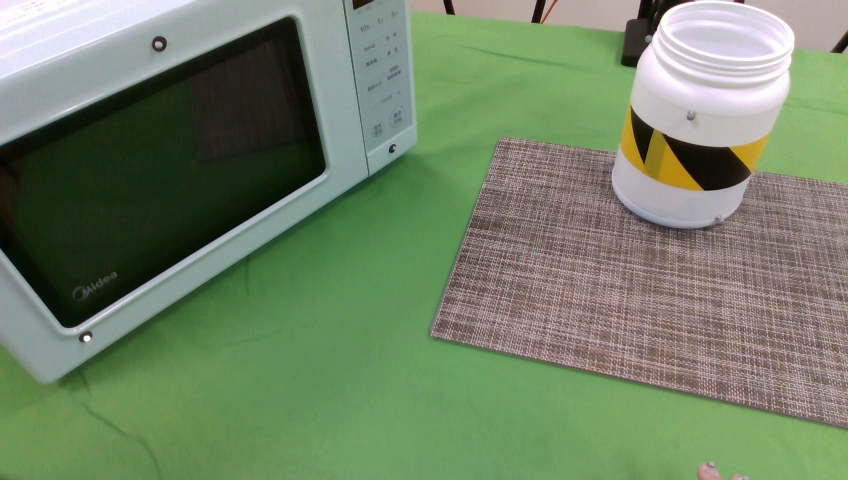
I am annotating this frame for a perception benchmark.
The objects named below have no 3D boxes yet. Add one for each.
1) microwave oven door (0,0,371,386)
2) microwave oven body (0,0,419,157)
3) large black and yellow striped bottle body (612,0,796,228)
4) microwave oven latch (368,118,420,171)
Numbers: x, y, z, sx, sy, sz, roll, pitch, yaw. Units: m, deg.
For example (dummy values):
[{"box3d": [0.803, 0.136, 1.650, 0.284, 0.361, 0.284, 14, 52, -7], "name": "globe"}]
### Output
[{"box3d": [-0.198, -0.064, 0.494, 0.039, 0.246, 0.355, 33, 56, 31], "name": "microwave oven door"}, {"box3d": [-0.273, -0.152, 0.591, 0.323, 0.262, 0.441, 34, 57, 30], "name": "microwave oven body"}, {"box3d": [0.261, -0.117, 0.579, 0.131, 0.186, 0.129, -1, 46, 2], "name": "large black and yellow striped bottle body"}, {"box3d": [-0.039, -0.109, 0.672, 0.079, 0.030, 0.030, -37, 55, -27], "name": "microwave oven latch"}]
